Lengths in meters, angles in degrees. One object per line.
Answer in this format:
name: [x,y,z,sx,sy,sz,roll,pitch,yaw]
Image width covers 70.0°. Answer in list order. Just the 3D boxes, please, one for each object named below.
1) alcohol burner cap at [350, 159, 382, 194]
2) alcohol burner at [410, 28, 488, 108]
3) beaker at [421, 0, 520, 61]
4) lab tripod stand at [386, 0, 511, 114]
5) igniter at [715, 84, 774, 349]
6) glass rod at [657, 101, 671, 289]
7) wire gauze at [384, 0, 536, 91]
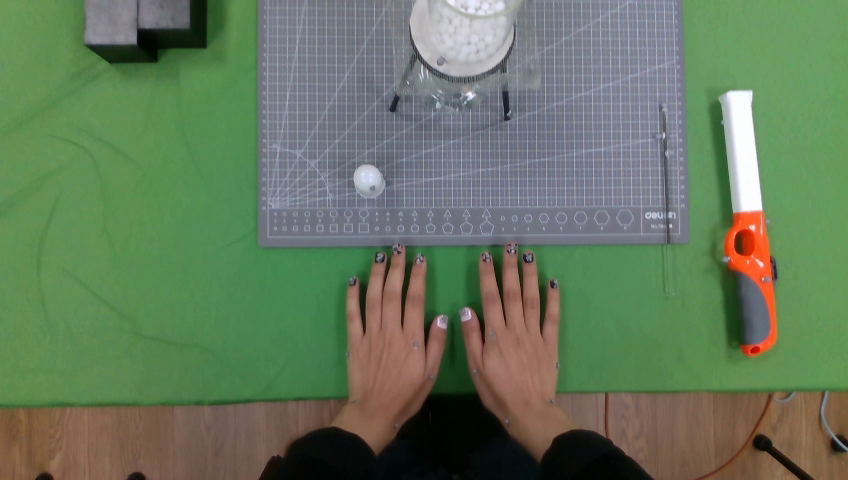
alcohol burner cap: [-0.059,-0.066,0.609,0.034,0.048,0.034,0,87,-3]
alcohol burner: [0.025,-0.171,0.581,0.078,0.119,0.078,0,86,-1]
beaker: [0.033,-0.188,0.458,0.074,0.100,0.084,-4,86,-2]
lab tripod stand: [0.026,-0.181,0.571,0.148,0.131,0.148,0,86,-1]
igniter: [0.335,-0.025,0.635,0.057,0.025,0.276,-4,88,-13]
glass rod: [0.253,-0.048,0.639,0.008,0.008,0.199,-1,88,-3]
wire gauze: [0.027,-0.187,0.505,0.125,0.011,0.121,-5,86,-1]
